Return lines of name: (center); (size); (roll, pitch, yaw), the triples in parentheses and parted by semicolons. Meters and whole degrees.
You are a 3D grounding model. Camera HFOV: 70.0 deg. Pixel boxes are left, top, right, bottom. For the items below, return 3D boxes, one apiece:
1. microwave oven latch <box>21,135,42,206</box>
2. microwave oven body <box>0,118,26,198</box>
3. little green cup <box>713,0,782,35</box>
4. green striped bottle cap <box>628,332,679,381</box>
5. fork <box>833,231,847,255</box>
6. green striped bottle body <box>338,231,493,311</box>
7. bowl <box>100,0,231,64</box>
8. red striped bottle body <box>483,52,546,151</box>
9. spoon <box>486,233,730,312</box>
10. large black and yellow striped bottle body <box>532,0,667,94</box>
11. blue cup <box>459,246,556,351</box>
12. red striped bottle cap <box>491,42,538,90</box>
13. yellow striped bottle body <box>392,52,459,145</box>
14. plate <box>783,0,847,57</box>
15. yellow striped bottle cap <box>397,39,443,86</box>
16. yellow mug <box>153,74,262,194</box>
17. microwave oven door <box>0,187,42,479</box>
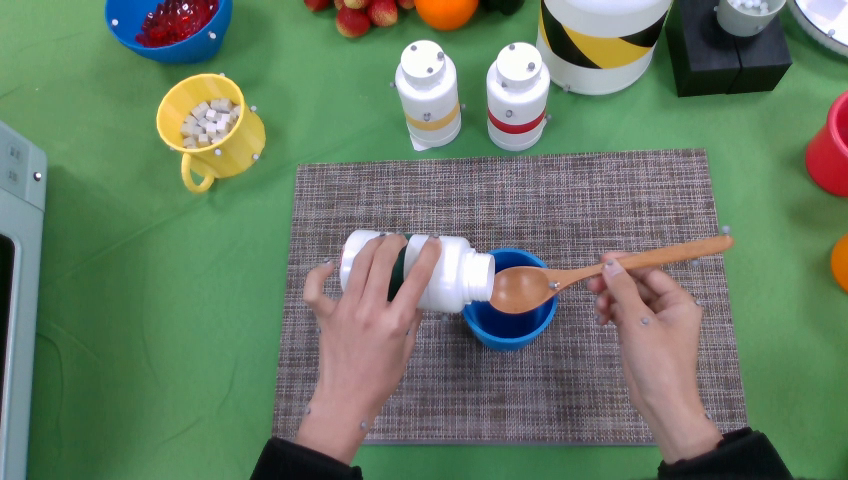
microwave oven latch: (-0.456, -0.077, 0.689); (0.030, 0.030, 0.078); (-9, 70, 3)
microwave oven body: (-0.584, 0.080, 0.544); (0.326, 0.262, 0.438); (-11, 70, 2)
little green cup: (0.332, -0.246, 0.628); (0.061, 0.039, 0.061); (-2, 69, 5)
green striped bottle cap: (0.218, 0.111, 0.575); (0.044, 0.020, 0.044); (-2, 66, 5)
fork: (0.450, 0.030, 0.511); (0.028, 0.019, 0.205); (-39, 27, -7)
green striped bottle body: (-0.005, 0.025, 0.500); (0.119, 0.064, 0.063); (2, 70, 16)
bowl: (-0.299, -0.270, 0.739); (0.151, 0.077, 0.150); (-2, 70, 5)
red striped bottle body: (0.095, -0.149, 0.630); (0.063, 0.120, 0.062); (-3, 68, 9)
spoon: (0.141, 0.023, 0.484); (0.193, 0.022, 0.041); (-16, 66, 24)
large black and yellow striped bottle body: (0.182, -0.254, 0.624); (0.130, 0.185, 0.130); (-2, 70, 6)
blue cup: (0.074, 0.063, 0.562); (0.092, 0.101, 0.092); (-2, 68, 5)
red striped bottle cap: (0.087, -0.168, 0.581); (0.044, 0.018, 0.044); (-1, 69, 2)
yellow striped bottle body: (0.002, -0.157, 0.642); (0.063, 0.121, 0.062); (-2, 70, 6)
plate: (0.502, -0.282, 0.676); (0.209, 0.038, 0.207); (-2, 71, 6)
yellow striped bottle cap: (-0.004, -0.174, 0.594); (0.044, 0.019, 0.044); (-2, 71, 5)
yellow mug: (-0.247, -0.114, 0.684); (0.100, 0.064, 0.130); (8, 72, 8)
microwave oven door: (-0.435, 0.091, 0.518); (0.039, 0.245, 0.353); (-11, 69, 3)
